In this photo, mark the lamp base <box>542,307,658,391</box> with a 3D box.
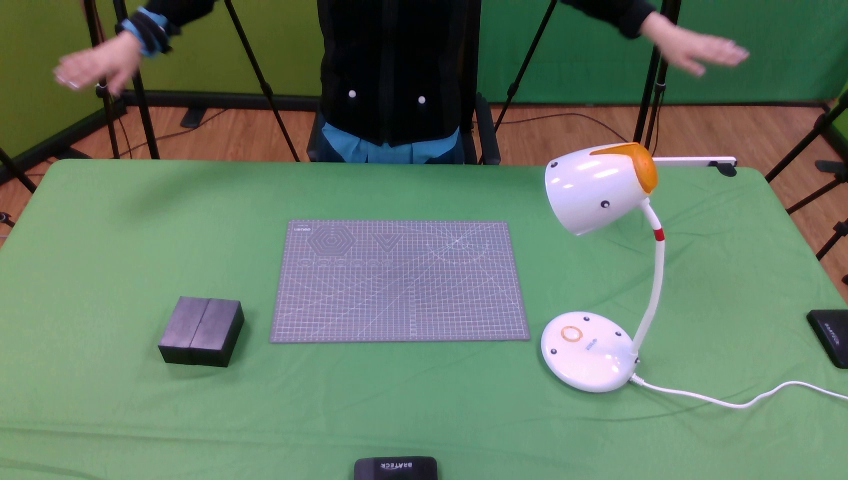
[{"bbox_3d":[0.296,0.138,0.975,0.178,0.181,0.160,28,51,18],"label":"lamp base"}]

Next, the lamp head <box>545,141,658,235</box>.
[{"bbox_3d":[0.237,-0.072,0.783,0.123,0.113,0.112,-16,33,37],"label":"lamp head"}]
